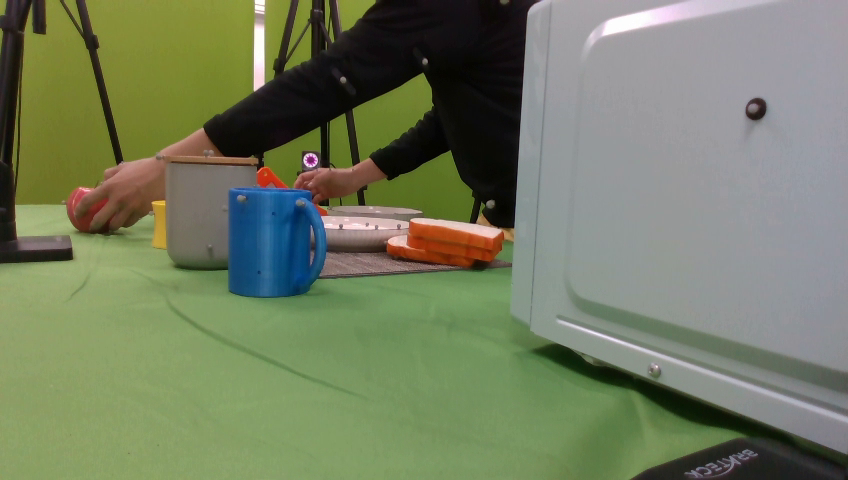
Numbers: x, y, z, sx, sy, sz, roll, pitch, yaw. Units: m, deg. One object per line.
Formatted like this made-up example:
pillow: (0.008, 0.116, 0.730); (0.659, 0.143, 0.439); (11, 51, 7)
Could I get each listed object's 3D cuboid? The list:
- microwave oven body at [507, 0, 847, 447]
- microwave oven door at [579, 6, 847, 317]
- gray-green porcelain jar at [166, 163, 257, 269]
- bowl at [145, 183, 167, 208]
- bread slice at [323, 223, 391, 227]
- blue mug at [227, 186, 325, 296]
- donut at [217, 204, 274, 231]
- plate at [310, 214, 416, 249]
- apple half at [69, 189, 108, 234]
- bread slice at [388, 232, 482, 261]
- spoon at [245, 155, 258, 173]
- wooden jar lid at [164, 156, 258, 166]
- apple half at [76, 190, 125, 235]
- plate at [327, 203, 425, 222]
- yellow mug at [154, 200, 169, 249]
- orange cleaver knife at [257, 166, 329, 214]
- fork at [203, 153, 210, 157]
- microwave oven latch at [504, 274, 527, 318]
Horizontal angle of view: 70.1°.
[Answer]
microwave oven body: (0.331, -0.042, 0.426); (0.444, 0.260, 0.324); (-2, 8, -31)
microwave oven door: (0.294, -0.067, 0.570); (0.358, 0.243, 0.039); (-3, 9, -31)
gray-green porcelain jar: (-0.263, -0.032, 0.754); (0.106, 0.126, 0.106); (2, 7, 0)
bowl: (-0.459, -0.069, 1.175); (0.151, 0.077, 0.151); (2, 7, 0)
bread slice: (-0.116, -0.013, 0.975); (0.135, 0.018, 0.106); (-6, 12, -42)
blue mug: (-0.146, 0.000, 0.618); (0.116, 0.106, 0.083); (7, 9, 32)
donut: (-0.318, -0.038, 1.080); (0.099, 0.048, 0.099); (2, 7, 0)
plate: (-0.117, -0.014, 0.967); (0.208, 0.039, 0.207); (2, 7, 0)
apple half: (-0.556, -0.049, 1.018); (0.053, 0.074, 0.081); (3, 8, 38)
bread slice: (0.016, 0.008, 0.866); (0.131, 0.019, 0.105); (7, 8, 8)
spoon: (-0.421, -0.150, 1.540); (0.042, 0.193, 0.021); (-6, -34, -36)
wooden jar lid: (-0.261, -0.093, 0.746); (0.108, 0.020, 0.108); (1, 9, 0)
apple half: (-0.525, -0.046, 0.995); (0.032, 0.081, 0.082); (3, 7, 37)
plate: (-0.102, -0.053, 1.299); (0.209, 0.038, 0.209); (2, 8, 0)
yellow mug: (-0.337, -0.023, 0.899); (0.130, 0.064, 0.100); (8, 10, 34)
orange cleaver knife: (-0.293, -0.086, 1.331); (0.212, 0.077, 0.012); (33, -14, -39)
fork: (-0.480, -0.134, 1.411); (0.028, 0.018, 0.207); (1, -35, 0)
microwave oven latch: (0.100, 0.041, 0.472); (0.079, 0.029, 0.030); (-2, 8, -29)
